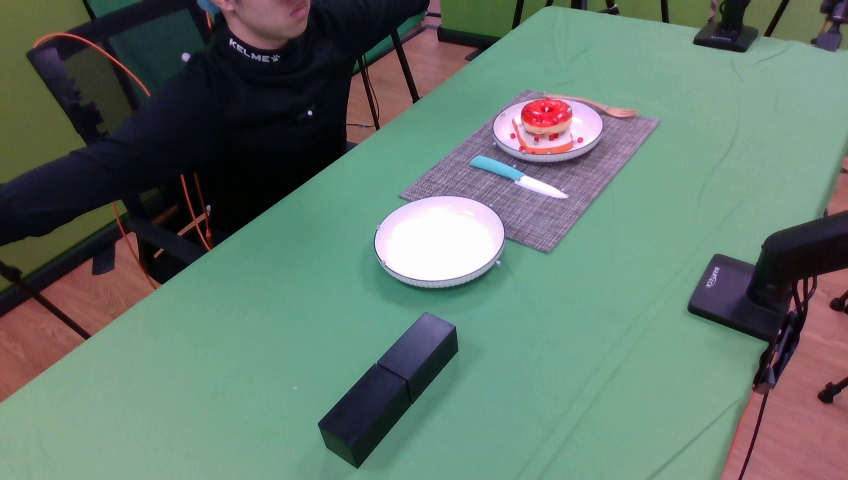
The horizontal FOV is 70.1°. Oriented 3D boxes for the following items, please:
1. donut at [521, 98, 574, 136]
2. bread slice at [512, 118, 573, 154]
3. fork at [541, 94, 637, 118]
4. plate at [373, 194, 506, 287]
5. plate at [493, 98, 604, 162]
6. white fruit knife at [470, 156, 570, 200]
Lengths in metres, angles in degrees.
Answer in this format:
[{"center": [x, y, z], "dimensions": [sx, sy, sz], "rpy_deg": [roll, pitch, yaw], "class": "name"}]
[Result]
[{"center": [0.232, -0.232, 1.135], "dimensions": [0.099, 0.048, 0.098], "rpy_deg": [-4, 41, 4], "class": "donut"}, {"center": [0.232, -0.204, 1.160], "dimensions": [0.105, 0.019, 0.131], "rpy_deg": [-8, 39, 1], "class": "bread slice"}, {"center": [0.334, -0.277, 1.240], "dimensions": [0.206, 0.019, 0.028], "rpy_deg": [22, 56, 27], "class": "fork"}, {"center": [0.025, 0.003, 0.951], "dimensions": [0.207, 0.039, 0.206], "rpy_deg": [-4, 41, 4], "class": "plate"}, {"center": [0.237, -0.206, 1.158], "dimensions": [0.209, 0.038, 0.208], "rpy_deg": [-4, 40, 4], "class": "plate"}, {"center": [0.169, -0.111, 1.076], "dimensions": [0.205, 0.016, 0.027], "rpy_deg": [28, 80, 32], "class": "white fruit knife"}]
